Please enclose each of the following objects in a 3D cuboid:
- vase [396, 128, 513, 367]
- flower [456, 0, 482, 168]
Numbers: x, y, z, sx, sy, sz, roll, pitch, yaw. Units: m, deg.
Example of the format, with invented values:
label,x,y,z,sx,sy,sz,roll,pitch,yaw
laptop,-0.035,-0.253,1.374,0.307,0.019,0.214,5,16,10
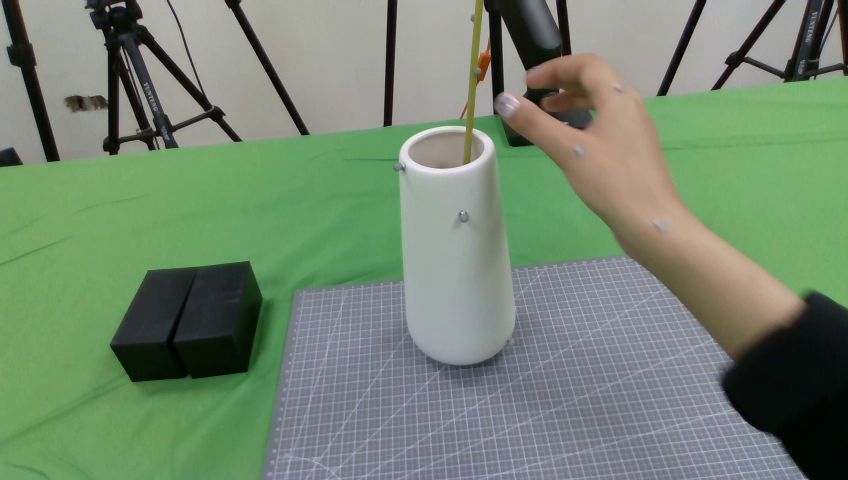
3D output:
label,x,y,z,sx,sy,sz,roll,pitch,yaw
vase,0.023,0.011,0.498,0.098,0.202,0.097,-5,38,4
flower,0.029,-0.061,0.453,0.044,0.364,0.038,16,27,22
